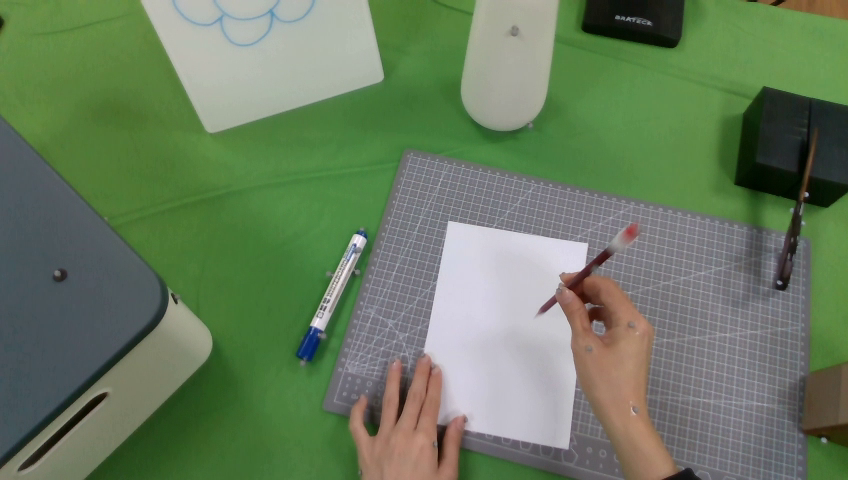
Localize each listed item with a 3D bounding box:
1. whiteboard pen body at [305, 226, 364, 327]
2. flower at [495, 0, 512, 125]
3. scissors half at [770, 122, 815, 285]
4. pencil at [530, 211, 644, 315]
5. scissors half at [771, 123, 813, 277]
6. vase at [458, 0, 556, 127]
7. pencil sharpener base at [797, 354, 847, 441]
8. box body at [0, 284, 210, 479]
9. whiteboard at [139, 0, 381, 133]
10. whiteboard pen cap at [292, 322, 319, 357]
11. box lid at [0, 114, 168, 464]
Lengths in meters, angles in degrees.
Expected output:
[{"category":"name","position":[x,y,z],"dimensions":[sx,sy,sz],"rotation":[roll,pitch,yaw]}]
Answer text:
[{"category":"whiteboard pen body","position":[-0.095,0.047,0.618],"dimensions":[0.017,0.017,0.140],"rotation":[20,67,9]},{"category":"flower","position":[0.081,-0.251,0.553],"dimensions":[0.044,0.365,0.038],"rotation":[7,50,7]},{"category":"scissors half","position":[0.380,-0.038,0.621],"dimensions":[0.012,0.040,0.175],"rotation":[14,87,31]},{"category":"pencil","position":[0.126,0.027,0.504],"dimensions":[0.012,0.195,0.012],"rotation":[6,61,-12]},{"category":"scissors half","position":[0.372,-0.044,0.603],"dimensions":[0.012,0.040,0.174],"rotation":[15,70,26]},{"category":"vase","position":[0.086,-0.205,0.624],"dimensions":[0.098,0.201,0.097],"rotation":[0,66,1]},{"category":"pencil sharpener base","position":[0.396,0.141,0.531],"dimensions":[0.076,0.107,0.061],"rotation":[18,68,4]},{"category":"box body","position":[-0.406,0.048,0.540],"dimensions":[0.362,0.161,0.254],"rotation":[39,73,14]},{"category":"whiteboard","position":[-0.192,-0.305,0.640],"dimensions":[0.217,0.308,0.142],"rotation":[-19,49,-7]},{"category":"whiteboard pen cap","position":[-0.115,0.097,0.595],"dimensions":[0.018,0.018,0.033],"rotation":[19,65,8]},{"category":"box lid","position":[-0.408,0.018,0.472],"dimensions":[0.369,0.015,0.263],"rotation":[39,73,14]}]
